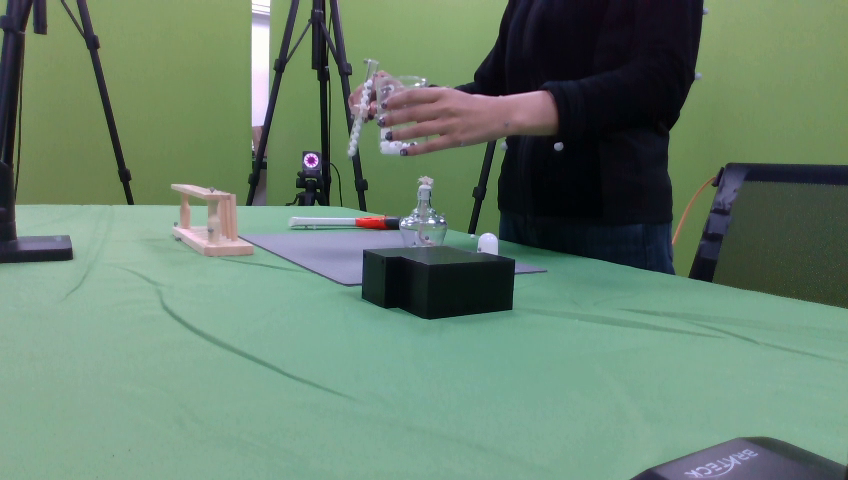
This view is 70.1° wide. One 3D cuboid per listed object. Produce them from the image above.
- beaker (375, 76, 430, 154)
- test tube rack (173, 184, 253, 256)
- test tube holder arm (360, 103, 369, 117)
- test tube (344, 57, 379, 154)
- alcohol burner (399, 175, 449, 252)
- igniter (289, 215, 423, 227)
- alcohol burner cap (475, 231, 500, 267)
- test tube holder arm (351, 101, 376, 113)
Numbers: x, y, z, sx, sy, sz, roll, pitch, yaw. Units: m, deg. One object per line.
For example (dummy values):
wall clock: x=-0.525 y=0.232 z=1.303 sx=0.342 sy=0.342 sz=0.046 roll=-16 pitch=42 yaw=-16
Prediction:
beaker: x=-0.032 y=-0.169 z=0.832 sx=0.083 sy=0.100 sz=0.074 roll=2 pitch=7 yaw=32
test tube rack: x=-0.329 y=-0.036 z=0.927 sx=0.067 sy=0.085 sz=0.241 roll=-2 pitch=9 yaw=-32
test tube holder arm: x=-0.092 y=-0.203 z=0.939 sx=0.010 sy=0.015 sz=0.087 roll=21 pitch=15 yaw=-10
test tube: x=-0.095 y=-0.201 z=0.915 sx=0.017 sy=0.150 sz=0.017 roll=17 pitch=21 yaw=-6
alcohol burner: x=0.000 y=-0.041 z=0.937 sx=0.078 sy=0.119 sz=0.078 roll=0 pitch=8 yaw=0
igniter: x=-0.133 y=-0.038 z=1.232 sx=0.278 sy=0.025 sz=0.057 roll=-1 pitch=-2 yaw=-25
alcohol burner cap: x=0.088 y=0.012 z=0.830 sx=0.034 sy=0.048 sz=0.034 roll=2 pitch=6 yaw=0
test tube holder arm: x=-0.096 y=-0.217 z=0.981 sx=0.013 sy=0.015 sz=0.178 roll=23 pitch=15 yaw=-3
